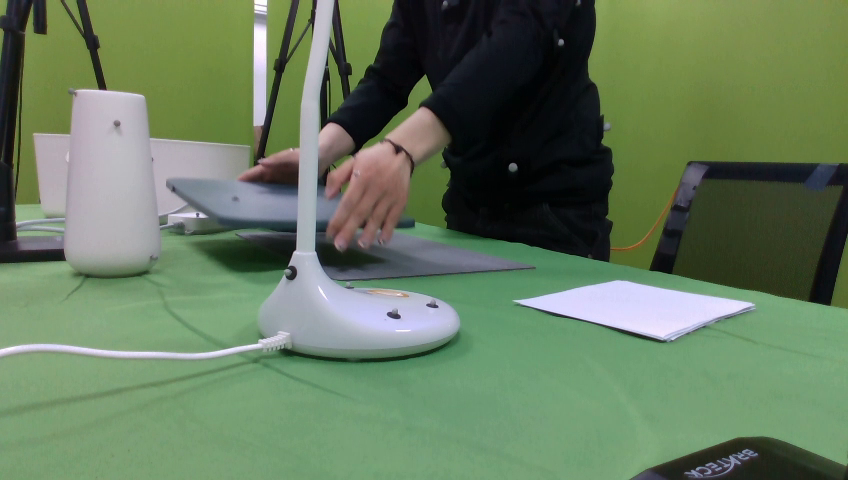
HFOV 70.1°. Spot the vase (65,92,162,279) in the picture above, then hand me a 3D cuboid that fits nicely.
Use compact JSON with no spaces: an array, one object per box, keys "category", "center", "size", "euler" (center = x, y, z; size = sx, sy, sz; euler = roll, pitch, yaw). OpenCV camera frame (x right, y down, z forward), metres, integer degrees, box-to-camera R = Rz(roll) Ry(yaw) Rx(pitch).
[{"category":"vase","center":[-0.347,-0.060,0.673],"size":[0.098,0.200,0.098],"euler":[1,7,0]}]

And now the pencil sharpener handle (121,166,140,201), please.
[{"category":"pencil sharpener handle","center":[-0.585,-0.112,1.193],"size":[0.030,0.067,0.036],"euler":[6,14,21]}]

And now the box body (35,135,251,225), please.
[{"category":"box body","center":[-0.559,-0.127,1.257],"size":[0.253,0.160,0.365],"euler":[4,8,15]}]

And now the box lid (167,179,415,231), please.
[{"category":"box lid","center":[-0.208,-0.056,0.885],"size":[0.265,0.015,0.369],"euler":[-1,13,-33]}]

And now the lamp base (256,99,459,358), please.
[{"category":"lamp base","center":[-0.055,-0.013,0.463],"size":[0.160,0.180,0.180],"euler":[6,11,27]}]

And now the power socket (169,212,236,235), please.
[{"category":"power socket","center":[-0.379,-0.038,1.129],"size":[0.072,0.032,0.227],"euler":[4,8,18]}]

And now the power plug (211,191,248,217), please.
[{"category":"power plug","center":[-0.384,-0.071,1.205],"size":[0.072,0.052,0.035],"euler":[1,8,28]}]

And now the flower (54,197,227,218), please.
[{"category":"flower","center":[-0.573,-0.058,1.266],"size":[0.044,0.038,0.364],"euler":[38,21,33]}]

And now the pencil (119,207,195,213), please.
[{"category":"pencil","center":[-0.586,-0.068,1.343],"size":[0.012,0.012,0.195],"euler":[6,7,28]}]

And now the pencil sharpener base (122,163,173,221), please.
[{"category":"pencil sharpener base","center":[-0.539,-0.095,1.176],"size":[0.076,0.107,0.061],"euler":[6,9,21]}]
